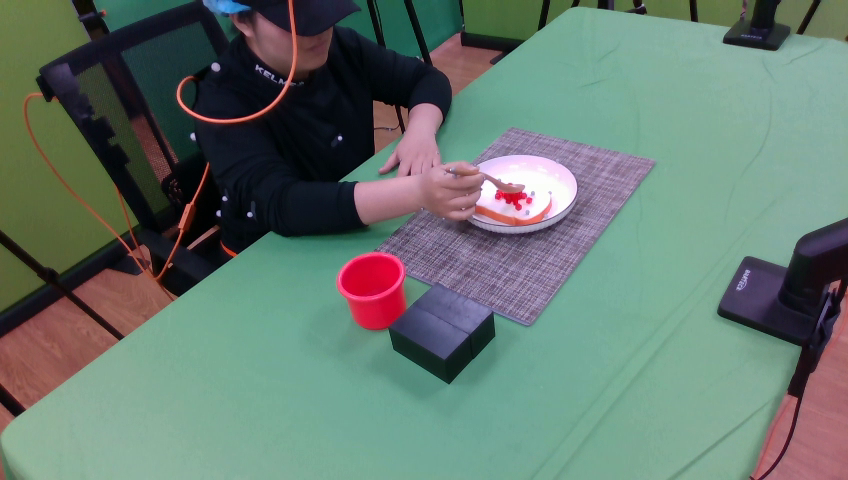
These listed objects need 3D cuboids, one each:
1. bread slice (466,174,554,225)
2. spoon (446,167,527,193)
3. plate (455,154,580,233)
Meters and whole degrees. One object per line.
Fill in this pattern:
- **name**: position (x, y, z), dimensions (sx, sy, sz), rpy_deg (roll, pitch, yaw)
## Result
- **bread slice**: position (0.152, -0.067, 1.022), dimensions (0.130, 0.019, 0.105), rpy_deg (22, 50, 34)
- **spoon**: position (0.097, -0.095, 0.931), dimensions (0.041, 0.021, 0.195), rpy_deg (11, 0, 43)
- **plate**: position (0.159, -0.076, 1.028), dimensions (0.209, 0.038, 0.208), rpy_deg (-5, 40, 5)
